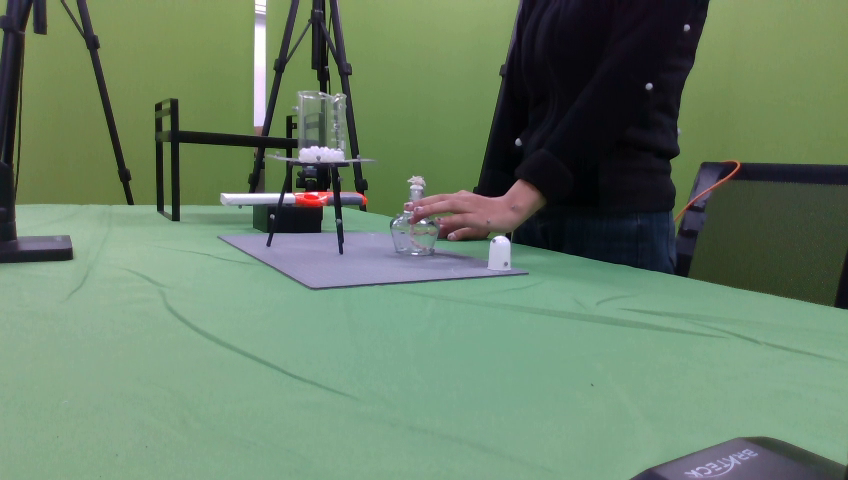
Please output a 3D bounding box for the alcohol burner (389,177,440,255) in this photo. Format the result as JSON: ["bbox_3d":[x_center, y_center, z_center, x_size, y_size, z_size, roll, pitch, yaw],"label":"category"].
[{"bbox_3d":[-0.013,-0.036,0.914,0.078,0.119,0.078,4,6,0],"label":"alcohol burner"}]

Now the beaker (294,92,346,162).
[{"bbox_3d":[-0.152,-0.165,0.896,0.074,0.100,0.083,-4,10,-33],"label":"beaker"}]

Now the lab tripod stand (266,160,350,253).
[{"bbox_3d":[-0.163,-0.054,0.914,0.148,0.131,0.148,2,9,0],"label":"lab tripod stand"}]

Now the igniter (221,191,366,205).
[{"bbox_3d":[-0.240,-0.078,1.150,0.278,0.025,0.057,-3,20,-32],"label":"igniter"}]

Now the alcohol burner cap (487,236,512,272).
[{"bbox_3d":[0.101,0.019,0.802,0.034,0.048,0.034,2,7,0],"label":"alcohol burner cap"}]

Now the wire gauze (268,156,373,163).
[{"bbox_3d":[-0.154,-0.119,0.910,0.122,0.011,0.124,-4,8,-45],"label":"wire gauze"}]
